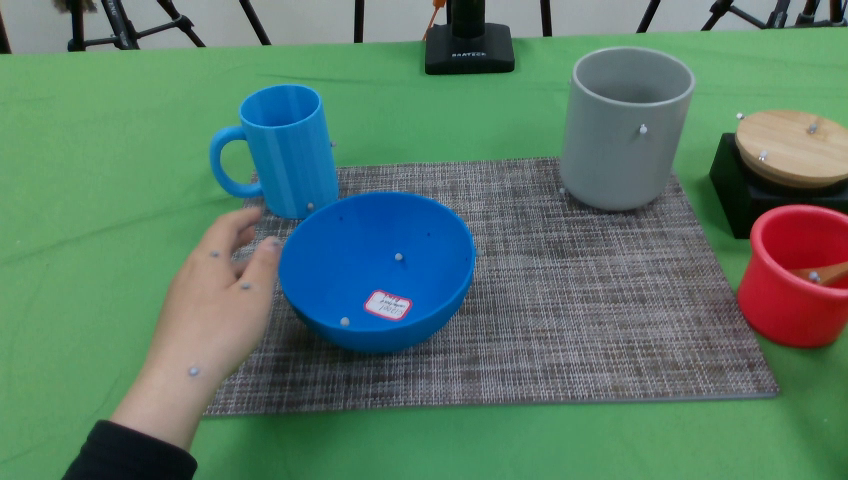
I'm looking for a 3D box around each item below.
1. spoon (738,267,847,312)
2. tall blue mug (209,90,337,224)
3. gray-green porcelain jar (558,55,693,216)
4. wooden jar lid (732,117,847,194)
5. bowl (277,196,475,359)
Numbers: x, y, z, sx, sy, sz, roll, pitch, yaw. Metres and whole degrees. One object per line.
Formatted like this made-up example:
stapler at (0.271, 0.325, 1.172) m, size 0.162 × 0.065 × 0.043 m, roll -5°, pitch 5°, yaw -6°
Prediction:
spoon at (0.330, 0.021, 0.442) m, size 0.022 × 0.193 × 0.041 m, roll 49°, pitch 48°, yaw -13°
tall blue mug at (-0.142, -0.073, 0.587) m, size 0.107 × 0.109 × 0.077 m, roll -35°, pitch 53°, yaw -29°
gray-green porcelain jar at (0.185, -0.095, 0.579) m, size 0.106 × 0.127 × 0.105 m, roll -2°, pitch 44°, yaw 2°
wooden jar lid at (0.343, -0.078, 0.563) m, size 0.108 × 0.021 × 0.107 m, roll -2°, pitch 43°, yaw 3°
bowl at (-0.034, 0.041, 0.484) m, size 0.151 × 0.077 × 0.150 m, roll -1°, pitch 43°, yaw 2°
